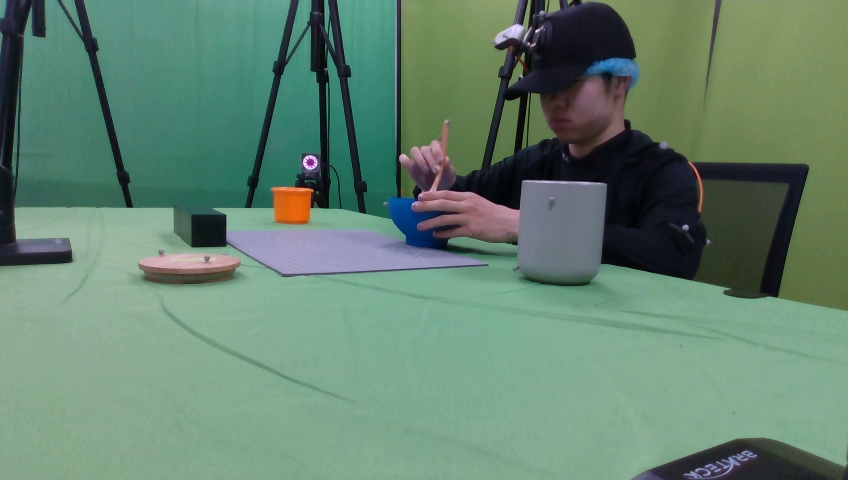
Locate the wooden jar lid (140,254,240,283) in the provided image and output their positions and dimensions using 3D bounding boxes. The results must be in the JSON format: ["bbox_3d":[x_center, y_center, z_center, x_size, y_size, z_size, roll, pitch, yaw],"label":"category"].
[{"bbox_3d":[-0.269,0.032,0.698,0.108,0.020,0.108,2,5,0],"label":"wooden jar lid"}]

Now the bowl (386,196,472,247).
[{"bbox_3d":[0.006,-0.031,1.048,0.151,0.077,0.151,5,6,0],"label":"bowl"}]

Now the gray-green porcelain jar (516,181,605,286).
[{"bbox_3d":[0.172,-0.010,0.768,0.106,0.126,0.106,2,7,0],"label":"gray-green porcelain jar"}]

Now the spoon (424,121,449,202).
[{"bbox_3d":[0.022,-0.112,1.025,0.022,0.193,0.041,18,-14,-15],"label":"spoon"}]
